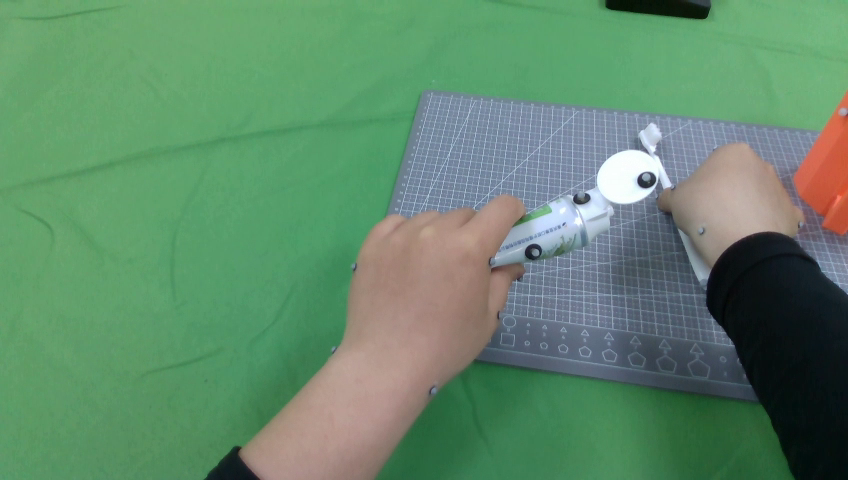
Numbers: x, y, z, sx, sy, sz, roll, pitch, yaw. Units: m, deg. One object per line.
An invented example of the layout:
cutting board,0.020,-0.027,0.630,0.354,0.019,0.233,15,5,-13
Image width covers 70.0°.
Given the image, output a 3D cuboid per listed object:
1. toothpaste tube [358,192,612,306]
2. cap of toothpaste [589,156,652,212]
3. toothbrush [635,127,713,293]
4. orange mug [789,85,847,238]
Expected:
toothpaste tube,0.039,0.011,0.379,0.165,0.055,0.034,-22,78,3
cap of toothpaste,0.117,-0.032,0.358,0.037,0.011,0.037,-14,59,25
toothbrush,0.206,-0.032,0.502,0.014,0.017,0.180,15,47,-20
orange mug,0.350,-0.061,0.476,0.083,0.101,0.126,30,51,23
